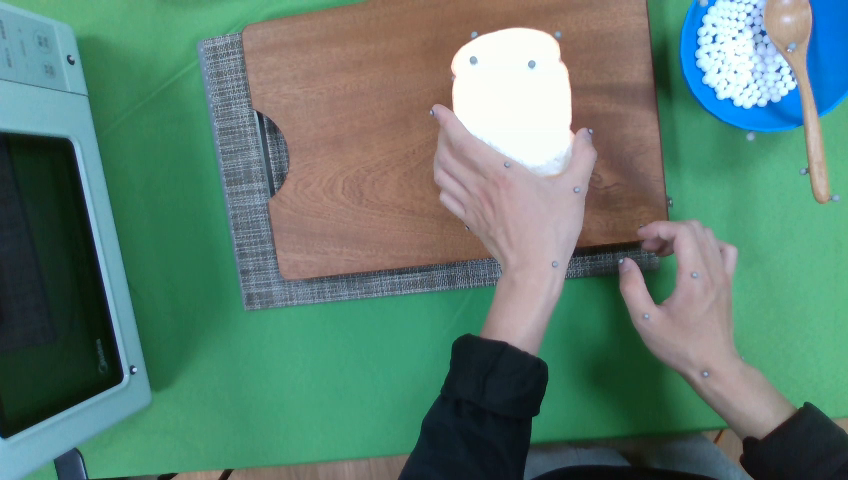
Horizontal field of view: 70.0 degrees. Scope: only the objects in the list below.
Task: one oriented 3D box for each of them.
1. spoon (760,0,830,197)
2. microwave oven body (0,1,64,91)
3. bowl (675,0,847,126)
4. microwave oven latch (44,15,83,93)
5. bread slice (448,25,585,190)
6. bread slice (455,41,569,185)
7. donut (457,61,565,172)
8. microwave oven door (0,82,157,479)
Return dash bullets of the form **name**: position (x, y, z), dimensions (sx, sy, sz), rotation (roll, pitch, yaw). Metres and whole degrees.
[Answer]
- **spoon**: position (0.316, -0.130, 0.508), dimensions (0.041, 0.022, 0.192), rotation (-3, 76, 3)
- **microwave oven body**: position (-0.526, 0.009, 0.602), dimensions (0.325, 0.260, 0.442), rotation (-10, 95, 10)
- **bowl**: position (0.295, -0.174, 0.538), dimensions (0.151, 0.077, 0.151), rotation (1, 97, 10)
- **microwave oven latch**: position (-0.397, -0.198, 0.654), dimensions (0.030, 0.029, 0.079), rotation (-9, 96, 10)
- **bread slice**: position (0.072, -0.115, 0.523), dimensions (0.107, 0.018, 0.134), rotation (-12, 90, 12)
- **bread slice**: position (0.079, -0.122, 0.583), dimensions (0.105, 0.019, 0.132), rotation (-7, 97, 9)
- **donut**: position (0.079, -0.112, 0.553), dimensions (0.099, 0.048, 0.099), rotation (1, 98, 9)
- **microwave oven door**: position (-0.377, 0.027, 0.575), dimensions (0.039, 0.244, 0.356), rotation (-10, 95, 11)
